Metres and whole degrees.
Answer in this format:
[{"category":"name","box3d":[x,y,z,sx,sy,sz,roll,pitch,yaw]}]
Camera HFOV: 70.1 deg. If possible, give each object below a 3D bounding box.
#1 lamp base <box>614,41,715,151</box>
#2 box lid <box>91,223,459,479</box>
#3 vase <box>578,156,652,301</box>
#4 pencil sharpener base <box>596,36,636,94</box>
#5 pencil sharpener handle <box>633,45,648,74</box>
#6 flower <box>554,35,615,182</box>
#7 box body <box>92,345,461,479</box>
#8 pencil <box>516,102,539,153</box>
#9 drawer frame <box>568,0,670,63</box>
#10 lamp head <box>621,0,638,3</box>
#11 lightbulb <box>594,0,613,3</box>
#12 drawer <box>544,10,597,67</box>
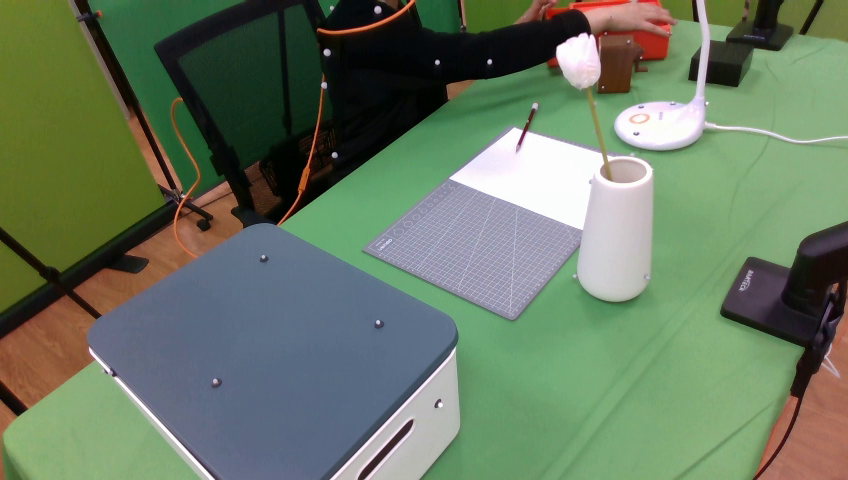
[{"category":"lamp base","box3d":[0.449,-0.277,1.106,0.179,0.181,0.160,1,41,9]},{"category":"box lid","box3d":[-0.174,0.103,0.666,0.368,0.015,0.264,24,49,35]},{"category":"vase","box3d":[0.261,-0.011,0.812,0.098,0.201,0.097,-4,40,4]},{"category":"pencil sharpener base","box3d":[0.405,-0.369,1.280,0.076,0.107,0.061,2,41,13]},{"category":"pencil sharpener handle","box3d":[0.454,-0.378,1.262,0.030,0.068,0.036,2,47,13]},{"category":"flower","box3d":[0.237,-0.083,0.774,0.044,0.363,0.038,-23,26,6]},{"category":"box body","box3d":[-0.162,0.170,0.708,0.361,0.161,0.255,25,50,34]},{"category":"pencil","box3d":[0.210,-0.230,1.229,0.012,0.012,0.194,8,43,19]},{"category":"drawer frame","box3d":[0.453,-0.497,1.441,0.213,0.083,0.201,-1,40,9]},{"category":"lamp head","box3d":[0.319,-0.453,0.962,0.113,0.123,0.112,20,33,-13]},{"category":"lightbulb","box3d":[0.305,-0.437,0.977,0.060,0.107,0.059,12,45,-11]},{"category":"drawer","box3d":[0.395,-0.492,1.453,0.211,0.073,0.194,-1,39,8]}]
